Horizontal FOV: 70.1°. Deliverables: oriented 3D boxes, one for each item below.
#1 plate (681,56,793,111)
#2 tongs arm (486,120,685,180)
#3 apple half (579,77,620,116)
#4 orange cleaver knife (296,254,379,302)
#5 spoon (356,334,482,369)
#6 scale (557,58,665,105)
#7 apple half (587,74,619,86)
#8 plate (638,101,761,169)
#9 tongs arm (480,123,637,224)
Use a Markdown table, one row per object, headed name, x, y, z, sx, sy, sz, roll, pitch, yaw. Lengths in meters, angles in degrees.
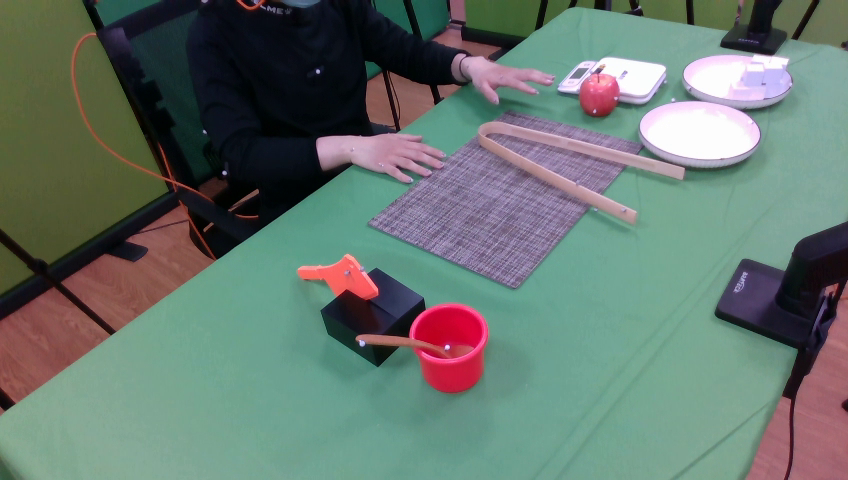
| name | x | y | z | sx | sy | sz | roll | pitch | yaw |
| --- | --- | --- | --- | --- | --- | --- | --- | --- | --- |
| plate | 0.636 | -0.317 | 1.239 | 0.207 | 0.039 | 0.206 | -4 | 40 | 4 |
| tongs arm | 0.287 | -0.171 | 1.123 | 0.384 | 0.028 | 0.028 | 21 | 52 | 29 |
| apple half | 0.348 | -0.285 | 1.218 | 0.080 | 0.075 | 0.053 | 17 | 49 | 22 |
| orange cleaver knife | -0.129 | 0.058 | 0.874 | 0.012 | 0.077 | 0.210 | -38 | 16 | -30 |
| spoon | -0.001 | 0.130 | 0.731 | 0.195 | 0.021 | 0.041 | 21 | 28 | -39 |
| scale | 0.407 | -0.348 | 1.314 | 0.199 | 0.032 | 0.149 | 19 | 47 | 28 |
| apple half | 0.366 | -0.310 | 1.243 | 0.081 | 0.081 | 0.033 | 15 | 49 | 24 |
| plate | 0.500 | -0.189 | 1.111 | 0.209 | 0.038 | 0.208 | -4 | 41 | 4 |
| tongs arm | 0.228 | -0.128 | 1.080 | 0.051 | 0.026 | 0.381 | -33 | 46 | -26 |
